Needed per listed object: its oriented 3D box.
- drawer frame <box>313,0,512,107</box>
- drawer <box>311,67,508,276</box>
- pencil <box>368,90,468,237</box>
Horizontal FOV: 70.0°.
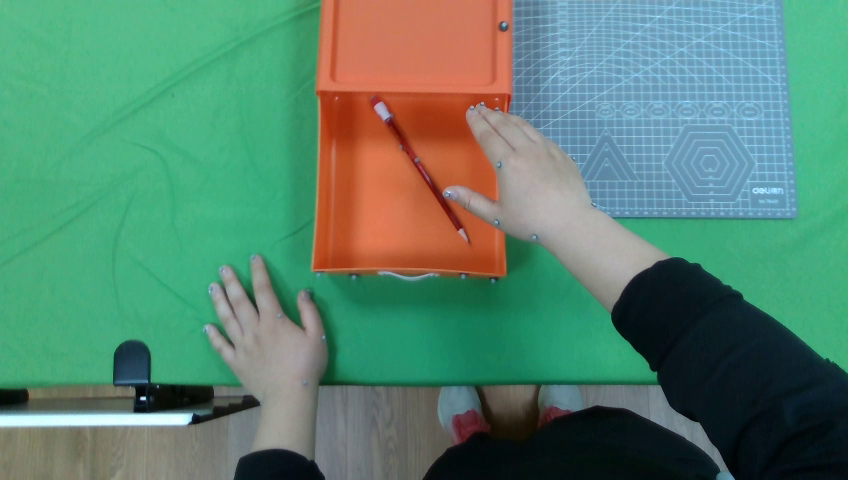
[{"bbox_3d":[-0.008,-0.247,0.651,0.201,0.083,0.213,1,82,4],"label":"drawer frame"},{"bbox_3d":[-0.012,-0.068,0.633,0.194,0.073,0.211,1,85,4],"label":"drawer"},{"bbox_3d":[-0.006,-0.084,0.662,0.012,0.012,0.193,-33,85,-2],"label":"pencil"}]
